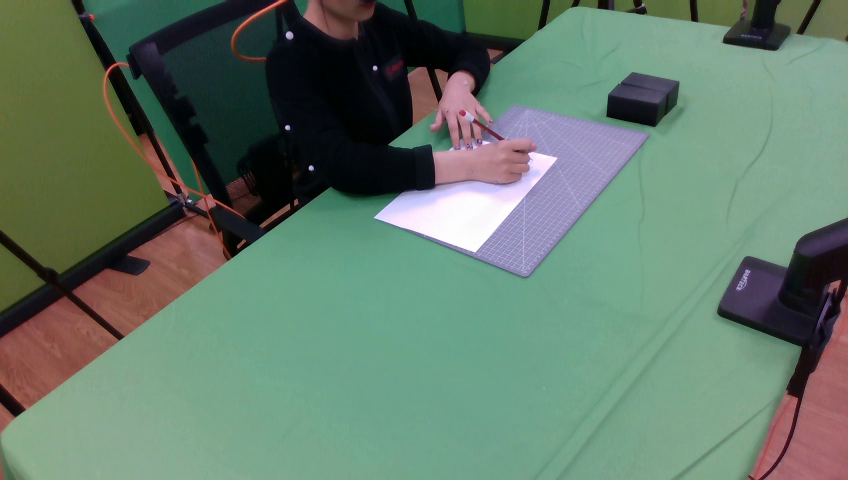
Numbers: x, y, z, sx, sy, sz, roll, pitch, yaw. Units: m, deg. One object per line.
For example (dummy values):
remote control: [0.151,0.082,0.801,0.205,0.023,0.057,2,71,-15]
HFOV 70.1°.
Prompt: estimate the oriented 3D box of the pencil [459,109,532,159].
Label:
pencil: [0.129,-0.182,1.058,0.012,0.196,0.012,-25,54,40]
